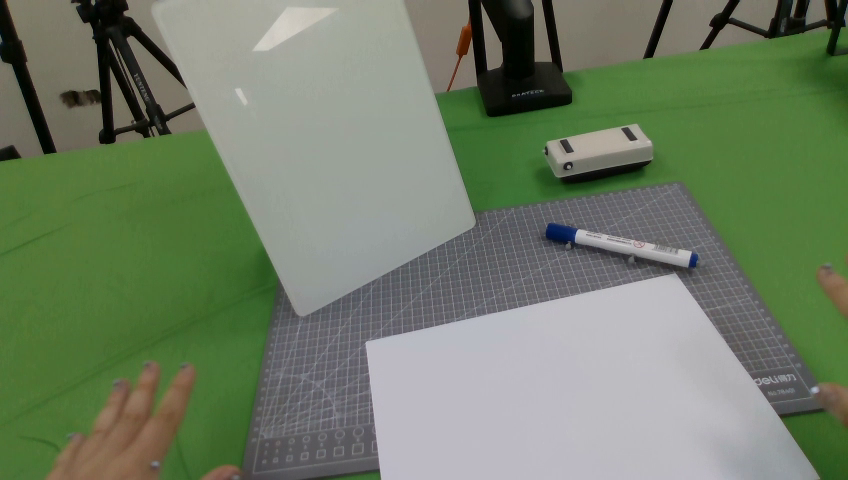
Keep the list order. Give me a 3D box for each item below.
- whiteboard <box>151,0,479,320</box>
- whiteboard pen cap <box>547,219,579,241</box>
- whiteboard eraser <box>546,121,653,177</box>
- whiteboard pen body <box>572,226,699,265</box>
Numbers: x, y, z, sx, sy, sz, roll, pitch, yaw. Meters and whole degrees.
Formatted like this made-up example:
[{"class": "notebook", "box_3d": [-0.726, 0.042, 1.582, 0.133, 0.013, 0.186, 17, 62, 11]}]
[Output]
[{"class": "whiteboard", "box_3d": [-0.107, -0.116, 0.628, 0.217, 0.307, 0.142, -28, 22, -18]}, {"class": "whiteboard pen cap", "box_3d": [0.144, -0.009, 0.620, 0.033, 0.018, 0.018, 16, 47, 25]}, {"class": "whiteboard eraser", "box_3d": [0.203, -0.103, 0.704, 0.113, 0.042, 0.055, -10, 42, -1]}, {"class": "whiteboard pen body", "box_3d": [0.193, 0.003, 0.592, 0.140, 0.017, 0.017, 13, 45, 27]}]
